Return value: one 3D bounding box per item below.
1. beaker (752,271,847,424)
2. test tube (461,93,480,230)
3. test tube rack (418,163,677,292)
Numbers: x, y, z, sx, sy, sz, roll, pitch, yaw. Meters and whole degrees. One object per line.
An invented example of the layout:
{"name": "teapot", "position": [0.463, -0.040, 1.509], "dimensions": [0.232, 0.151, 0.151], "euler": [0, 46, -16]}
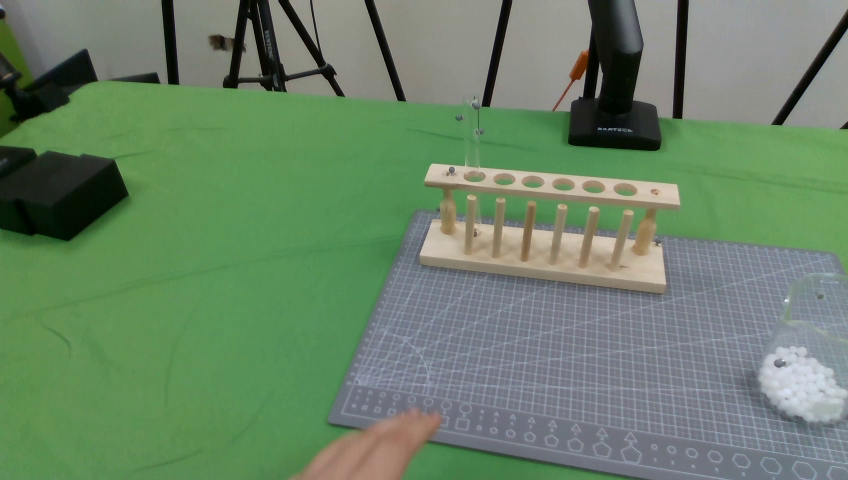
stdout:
{"name": "beaker", "position": [0.298, 0.085, 0.462], "dimensions": [0.084, 0.101, 0.073], "euler": [-6, 38, -2]}
{"name": "test tube", "position": [0.047, -0.074, 0.605], "dimensions": [0.017, 0.151, 0.017], "euler": [-3, 36, 3]}
{"name": "test tube rack", "position": [0.118, -0.015, 0.608], "dimensions": [0.242, 0.086, 0.066], "euler": [6, 39, 11]}
